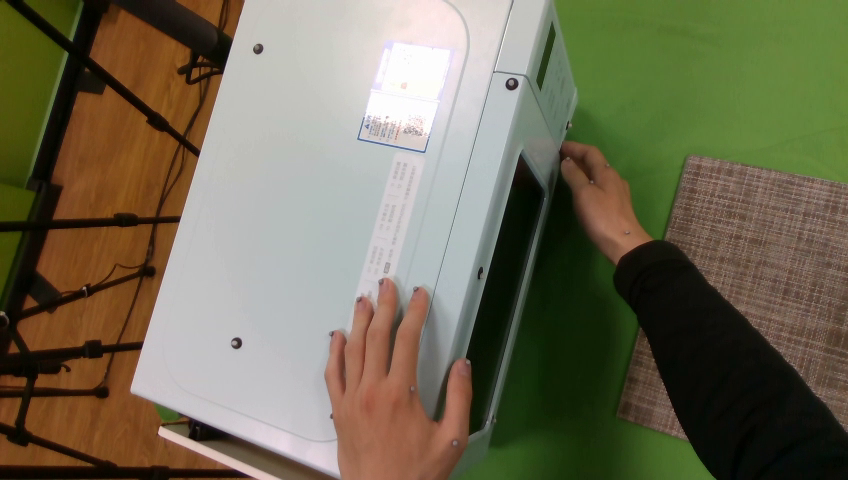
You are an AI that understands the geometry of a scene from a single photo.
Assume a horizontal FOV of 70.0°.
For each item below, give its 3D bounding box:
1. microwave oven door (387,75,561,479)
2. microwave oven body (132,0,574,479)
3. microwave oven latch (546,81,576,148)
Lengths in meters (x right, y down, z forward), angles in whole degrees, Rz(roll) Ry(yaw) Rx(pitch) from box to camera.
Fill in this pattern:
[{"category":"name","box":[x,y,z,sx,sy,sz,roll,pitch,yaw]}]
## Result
[{"category":"microwave oven door","box":[0.060,0.052,0.592,0.039,0.245,0.355,14,86,21]},{"category":"microwave oven body","box":[-0.059,-0.020,0.650,0.324,0.262,0.441,14,87,20]},{"category":"microwave oven latch","box":[0.152,-0.144,0.698,0.030,0.030,0.079,19,89,20]}]
